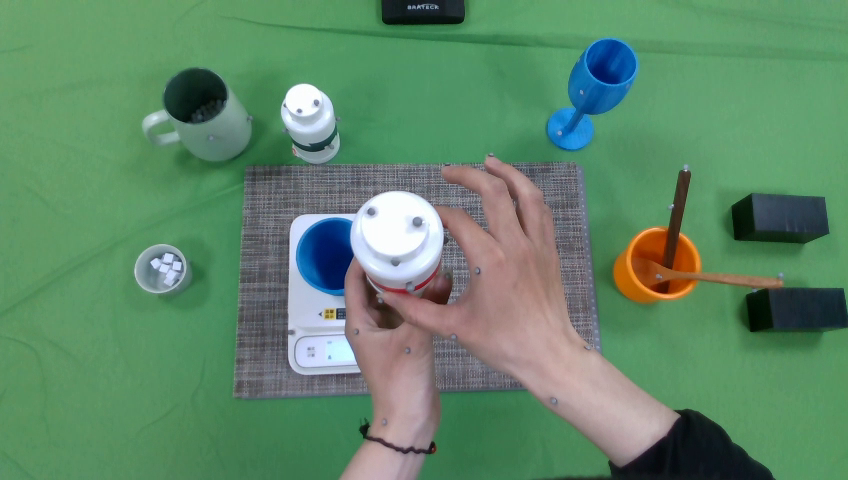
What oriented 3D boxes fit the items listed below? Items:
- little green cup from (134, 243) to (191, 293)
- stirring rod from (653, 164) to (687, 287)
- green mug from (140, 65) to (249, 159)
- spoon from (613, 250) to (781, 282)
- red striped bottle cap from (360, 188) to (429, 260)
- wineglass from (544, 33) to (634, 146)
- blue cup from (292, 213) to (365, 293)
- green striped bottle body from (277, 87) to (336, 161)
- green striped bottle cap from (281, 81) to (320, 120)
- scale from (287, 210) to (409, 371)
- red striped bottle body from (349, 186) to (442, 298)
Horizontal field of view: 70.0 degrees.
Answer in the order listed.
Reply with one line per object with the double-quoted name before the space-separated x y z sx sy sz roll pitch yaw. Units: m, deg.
"little green cup" -0.321 0.037 0.752 0.061 0.039 0.061 1 76 -4
"stirring rod" 0.300 -0.013 0.742 0.014 0.177 0.006 3 34 11
"green mug" -0.293 -0.154 0.768 0.125 0.105 0.092 -23 78 -8
"spoon" 0.320 0.037 0.730 0.022 0.192 0.041 20 79 -43
"red striped bottle cap" -0.019 -0.011 0.384 0.044 0.018 0.044 0 75 -1
"wineglass" 0.203 -0.184 0.767 0.074 0.173 0.073 1 75 -2
"blue cup" -0.101 0.023 0.700 0.093 0.100 0.092 1 77 -3
"green striped bottle body" -0.148 -0.151 0.767 0.063 0.120 0.063 1 75 -2
"green striped bottle cap" -0.146 -0.166 0.717 0.044 0.020 0.044 1 74 -3
"scale" -0.096 0.060 0.758 0.149 0.032 0.200 -2 76 -3
"red striped bottle body" -0.019 0.002 0.436 0.063 0.120 0.062 0 75 0
